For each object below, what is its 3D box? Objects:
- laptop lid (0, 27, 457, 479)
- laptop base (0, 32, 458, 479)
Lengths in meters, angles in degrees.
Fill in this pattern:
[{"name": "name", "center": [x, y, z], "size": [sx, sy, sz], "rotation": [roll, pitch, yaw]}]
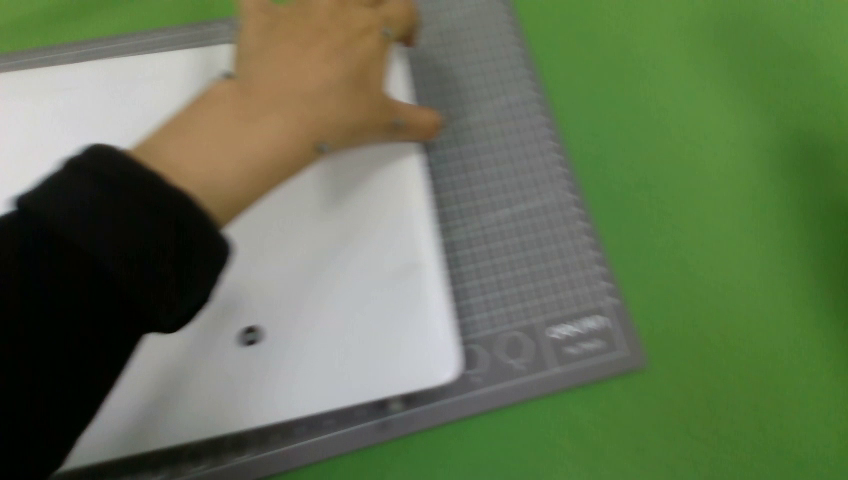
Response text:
[{"name": "laptop lid", "center": [-0.177, 0.000, 0.325], "size": [0.357, 0.013, 0.239], "rotation": [-9, 69, -7]}, {"name": "laptop base", "center": [-0.178, 0.003, 0.336], "size": [0.355, 0.023, 0.233], "rotation": [-11, 70, -8]}]
